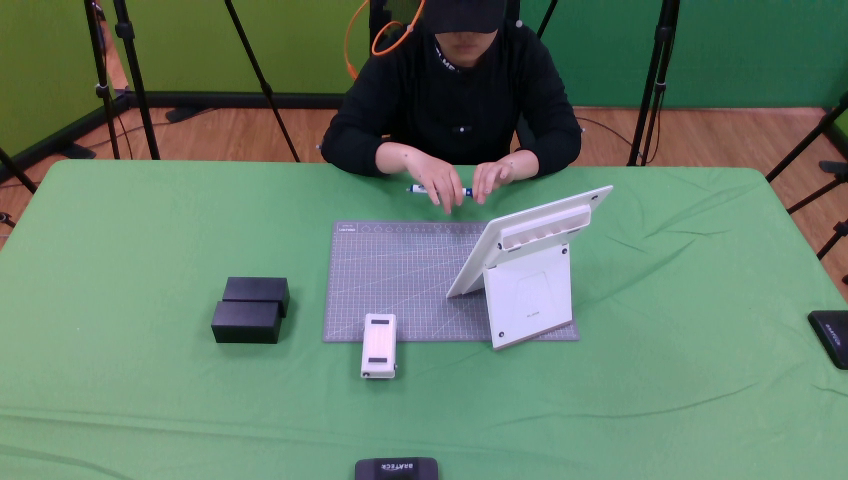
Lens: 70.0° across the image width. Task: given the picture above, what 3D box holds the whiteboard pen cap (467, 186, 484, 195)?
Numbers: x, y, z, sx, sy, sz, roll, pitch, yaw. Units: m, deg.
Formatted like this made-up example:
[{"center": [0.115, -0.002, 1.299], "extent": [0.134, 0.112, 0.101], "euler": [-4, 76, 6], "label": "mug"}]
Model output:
[{"center": [0.104, -0.100, 1.218], "extent": [0.033, 0.018, 0.018], "euler": [-11, 46, -36], "label": "whiteboard pen cap"}]

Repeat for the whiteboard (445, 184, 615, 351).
[{"center": [0.187, 0.065, 0.989], "extent": [0.217, 0.306, 0.143], "euler": [-15, 68, -18], "label": "whiteboard"}]

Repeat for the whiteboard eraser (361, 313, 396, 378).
[{"center": [-0.075, 0.176, 1.006], "extent": [0.055, 0.042, 0.112], "euler": [3, 50, -4], "label": "whiteboard eraser"}]

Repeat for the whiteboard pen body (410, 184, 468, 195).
[{"center": [0.041, -0.101, 1.223], "extent": [0.141, 0.017, 0.017], "euler": [4, 46, 3], "label": "whiteboard pen body"}]
